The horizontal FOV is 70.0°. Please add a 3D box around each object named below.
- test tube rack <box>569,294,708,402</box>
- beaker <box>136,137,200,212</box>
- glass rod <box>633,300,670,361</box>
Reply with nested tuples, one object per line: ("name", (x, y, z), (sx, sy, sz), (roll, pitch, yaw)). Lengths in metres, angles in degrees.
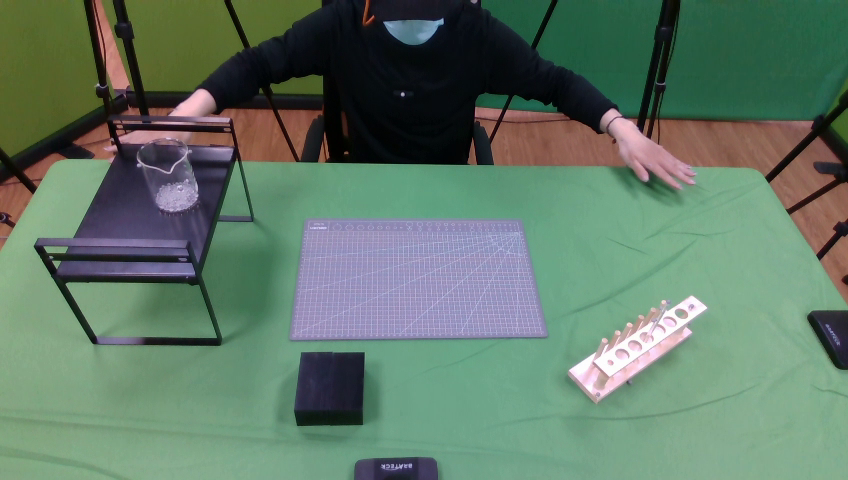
("test tube rack", (0.360, 0.167, 1.014), (0.242, 0.085, 0.066), (-25, 53, -25))
("beaker", (-0.399, -0.098, 0.957), (0.074, 0.101, 0.083), (-19, 51, -20))
("glass rod", (0.351, 0.144, 0.944), (0.008, 0.201, 0.008), (-1, 55, 1))
